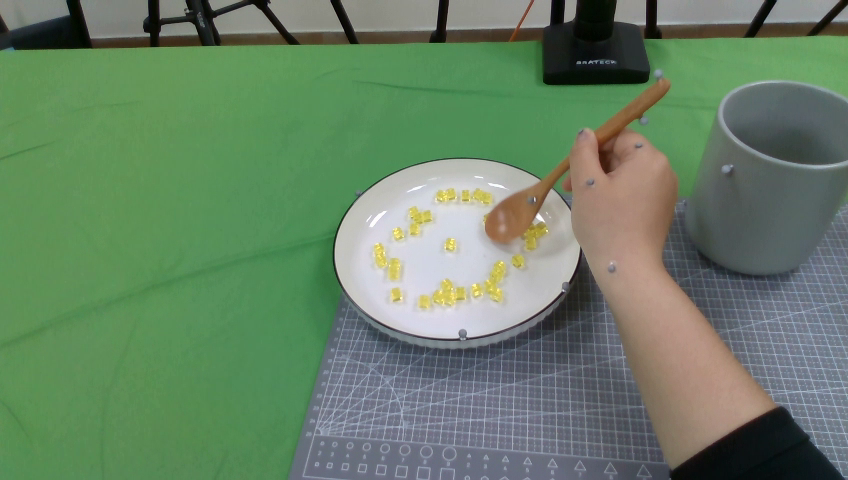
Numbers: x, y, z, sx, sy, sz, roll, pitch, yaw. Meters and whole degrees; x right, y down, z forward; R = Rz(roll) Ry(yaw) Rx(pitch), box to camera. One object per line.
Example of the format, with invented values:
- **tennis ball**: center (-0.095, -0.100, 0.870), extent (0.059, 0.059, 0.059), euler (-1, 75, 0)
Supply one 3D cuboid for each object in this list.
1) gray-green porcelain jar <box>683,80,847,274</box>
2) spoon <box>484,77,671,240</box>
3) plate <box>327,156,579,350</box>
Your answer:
- **gray-green porcelain jar**: center (0.269, -0.044, 0.479), extent (0.106, 0.128, 0.105), euler (-3, 48, 4)
- **spoon**: center (0.111, -0.057, 0.471), extent (0.022, 0.194, 0.041), euler (9, 55, -31)
- **plate**: center (0.024, 0.009, 0.517), extent (0.207, 0.039, 0.205), euler (-3, 48, 3)
